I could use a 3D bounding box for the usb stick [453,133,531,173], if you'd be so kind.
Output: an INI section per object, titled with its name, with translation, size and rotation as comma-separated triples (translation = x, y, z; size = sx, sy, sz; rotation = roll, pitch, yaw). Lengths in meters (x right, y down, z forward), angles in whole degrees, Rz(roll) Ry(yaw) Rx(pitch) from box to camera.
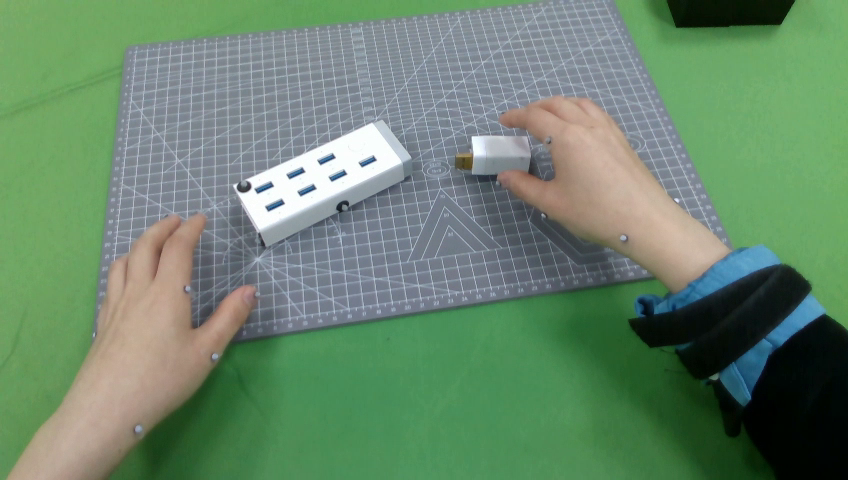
[usb stick]
translation = 0.051, -0.067, 0.468
size = 0.059, 0.022, 0.027
rotation = -3, 49, -5

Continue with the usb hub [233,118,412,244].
[usb hub]
translation = -0.074, -0.047, 0.455
size = 0.125, 0.025, 0.049
rotation = -28, 63, -16
